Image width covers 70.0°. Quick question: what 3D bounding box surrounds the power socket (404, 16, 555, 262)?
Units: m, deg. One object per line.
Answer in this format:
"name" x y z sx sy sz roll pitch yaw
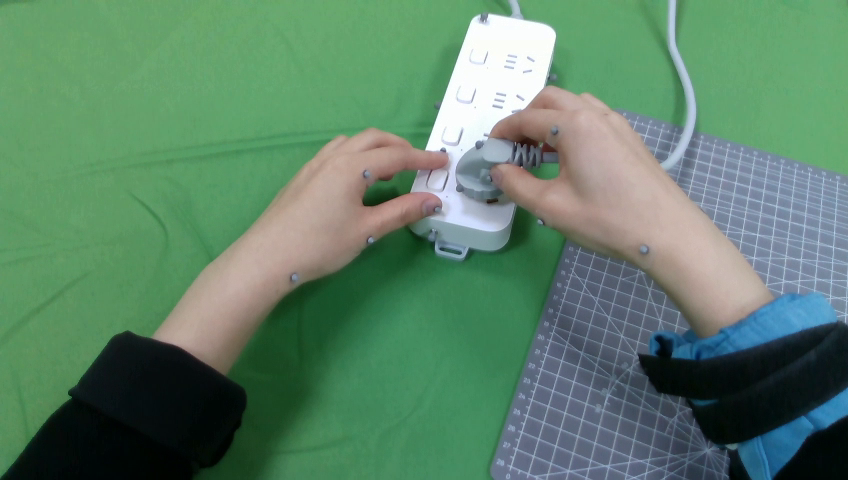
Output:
"power socket" 0.046 -0.086 0.449 0.072 0.033 0.225 15 59 7

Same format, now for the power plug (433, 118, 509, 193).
"power plug" 0.034 -0.056 0.364 0.035 0.073 0.052 29 82 9
